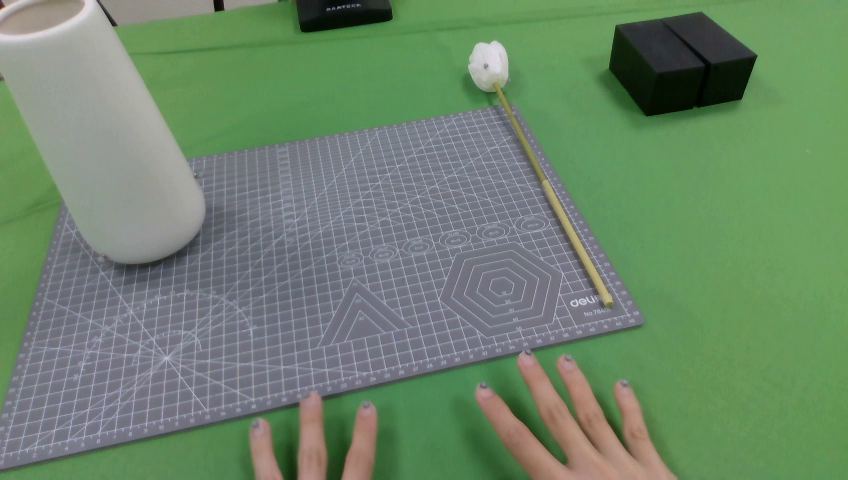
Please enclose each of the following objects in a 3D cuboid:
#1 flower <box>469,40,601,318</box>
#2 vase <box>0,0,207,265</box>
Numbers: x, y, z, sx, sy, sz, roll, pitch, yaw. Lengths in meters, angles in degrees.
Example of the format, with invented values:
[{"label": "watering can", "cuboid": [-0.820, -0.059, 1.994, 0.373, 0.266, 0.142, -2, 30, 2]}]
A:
[{"label": "flower", "cuboid": [0.099, -0.077, 0.567, 0.044, 0.038, 0.357, -31, 48, 20]}, {"label": "vase", "cuboid": [-0.236, -0.074, 0.455, 0.098, 0.202, 0.097, -2, 45, 2]}]
